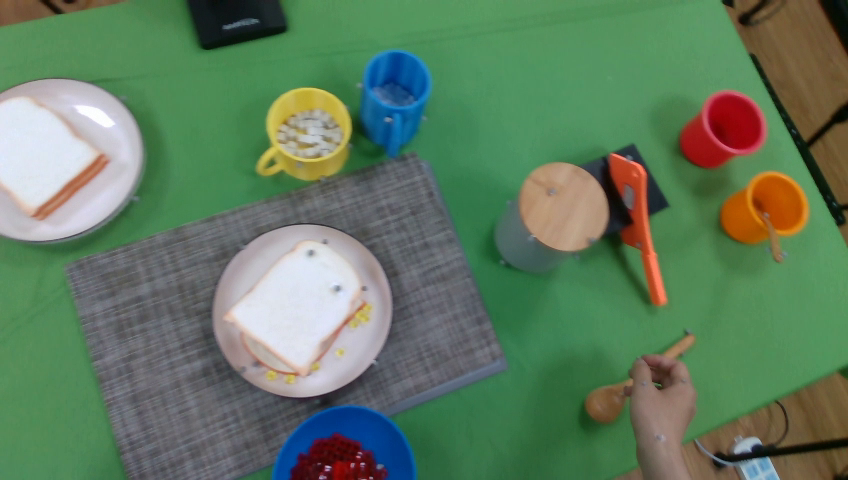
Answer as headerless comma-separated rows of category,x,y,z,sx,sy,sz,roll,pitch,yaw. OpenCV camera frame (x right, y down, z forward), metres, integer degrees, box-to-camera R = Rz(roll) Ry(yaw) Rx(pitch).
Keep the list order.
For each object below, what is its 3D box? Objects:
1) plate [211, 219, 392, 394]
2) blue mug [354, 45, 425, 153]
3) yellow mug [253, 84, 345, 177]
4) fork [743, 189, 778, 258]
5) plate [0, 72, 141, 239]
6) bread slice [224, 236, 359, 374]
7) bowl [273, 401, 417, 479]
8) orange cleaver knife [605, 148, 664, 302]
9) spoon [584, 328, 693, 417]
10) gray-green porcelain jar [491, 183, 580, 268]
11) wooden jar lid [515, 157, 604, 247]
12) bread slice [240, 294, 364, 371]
plate,-0.144,0.078,0.723,0.209,0.038,0.208,3,75,-9
blue mug,-0.047,-0.169,0.774,0.082,0.106,0.116,1,75,-9
yellow mug,-0.162,-0.128,0.764,0.131,0.064,0.100,-41,85,-16
fork,0.443,-0.025,0.797,0.028,0.018,0.206,44,29,-3
plate,-0.445,-0.098,0.722,0.208,0.039,0.206,3,75,-9
bread slice,-0.138,0.062,0.666,0.107,0.018,0.134,35,65,-6
bowl,-0.087,0.255,0.669,0.152,0.077,0.150,3,75,-9
orange cleaver knife,0.277,-0.019,0.801,0.012,0.076,0.212,-21,106,-14
spoon,0.283,0.167,0.784,0.194,0.022,0.041,-31,64,-16
gray-green porcelain jar,0.146,-0.025,0.758,0.106,0.127,0.105,3,74,-9
wooden jar lid,0.154,-0.042,0.698,0.109,0.021,0.108,3,76,-12
bread slice,-0.150,0.090,0.721,0.105,0.019,0.131,35,71,2
